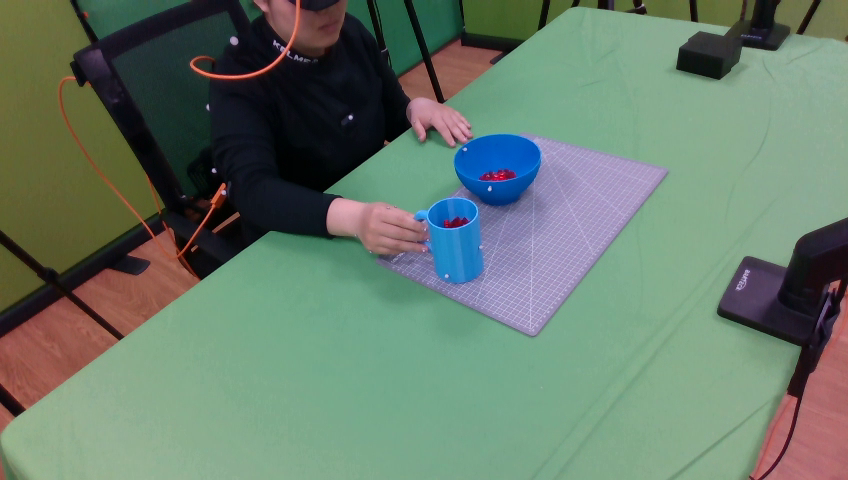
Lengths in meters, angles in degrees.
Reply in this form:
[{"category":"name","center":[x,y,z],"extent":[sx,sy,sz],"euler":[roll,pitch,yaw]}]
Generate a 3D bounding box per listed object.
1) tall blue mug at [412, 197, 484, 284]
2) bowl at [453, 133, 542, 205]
[{"category":"tall blue mug","center":[0.033,0.002,0.903],"extent":[0.107,0.108,0.077],"euler":[-3,41,9]},{"category":"bowl","center":[0.129,-0.112,1.045],"extent":[0.151,0.077,0.150],"euler":[-5,40,5]}]
